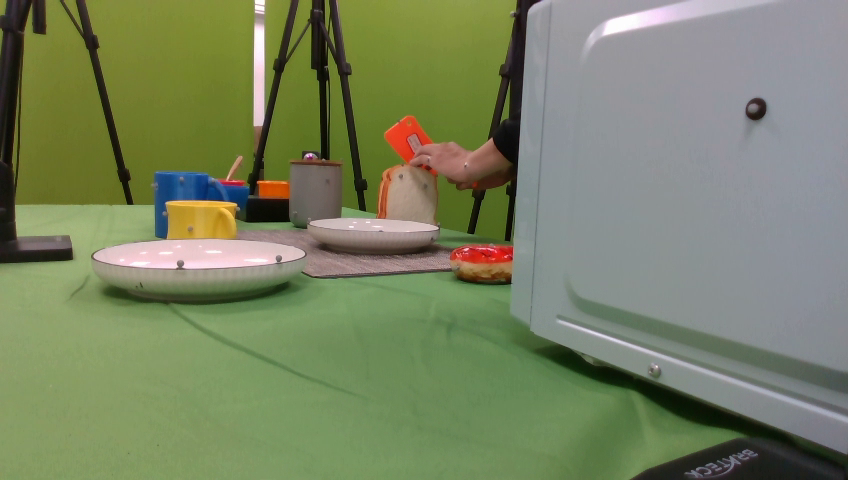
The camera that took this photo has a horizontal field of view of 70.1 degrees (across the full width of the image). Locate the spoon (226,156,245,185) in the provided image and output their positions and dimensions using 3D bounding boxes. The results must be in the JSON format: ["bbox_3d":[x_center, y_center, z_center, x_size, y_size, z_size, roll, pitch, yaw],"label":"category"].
[{"bbox_3d":[-0.477,-0.145,1.492,0.041,0.022,0.193,0,51,12],"label":"spoon"}]

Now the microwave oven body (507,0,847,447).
[{"bbox_3d":[0.331,-0.042,0.425,0.444,0.260,0.324,-2,8,-31],"label":"microwave oven body"}]

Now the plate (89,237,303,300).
[{"bbox_3d":[-0.233,0.029,0.637,0.208,0.039,0.207,2,7,0],"label":"plate"}]

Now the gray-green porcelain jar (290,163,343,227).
[{"bbox_3d":[-0.217,-0.091,1.221,0.106,0.126,0.106,2,7,0],"label":"gray-green porcelain jar"}]

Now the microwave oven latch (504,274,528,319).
[{"bbox_3d":[0.100,0.041,0.471,0.079,0.029,0.030,-1,7,-27],"label":"microwave oven latch"}]

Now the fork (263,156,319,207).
[{"bbox_3d":[-0.331,-0.144,1.505,0.207,0.018,0.028,-42,-20,22],"label":"fork"}]

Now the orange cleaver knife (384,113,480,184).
[{"bbox_3d":[0.018,-0.162,1.171,0.212,0.077,0.012,37,0,-21],"label":"orange cleaver knife"}]

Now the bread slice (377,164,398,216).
[{"bbox_3d":[-0.039,-0.081,1.169,0.105,0.131,0.019,5,-1,-21],"label":"bread slice"}]

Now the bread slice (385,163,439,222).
[{"bbox_3d":[-0.024,-0.075,1.121,0.107,0.134,0.018,-1,4,-20],"label":"bread slice"}]

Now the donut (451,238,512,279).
[{"bbox_3d":[0.083,0.022,0.745,0.099,0.048,0.099,1,5,0],"label":"donut"}]

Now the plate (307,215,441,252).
[{"bbox_3d":[-0.078,-0.012,0.954,0.209,0.038,0.209,2,8,0],"label":"plate"}]

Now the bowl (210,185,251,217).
[{"bbox_3d":[-0.408,-0.064,1.155,0.151,0.077,0.151,2,8,0],"label":"bowl"}]

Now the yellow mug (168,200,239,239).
[{"bbox_3d":[-0.320,-0.023,0.904,0.130,0.064,0.100,9,11,36],"label":"yellow mug"}]

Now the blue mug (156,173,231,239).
[{"bbox_3d":[-0.381,-0.057,1.004,0.117,0.106,0.082,1,8,-12],"label":"blue mug"}]

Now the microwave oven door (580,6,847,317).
[{"bbox_3d":[0.295,-0.067,0.570,0.358,0.243,0.039,-3,8,-31],"label":"microwave oven door"}]

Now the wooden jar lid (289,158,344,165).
[{"bbox_3d":[-0.215,-0.153,1.212,0.108,0.020,0.108,2,5,0],"label":"wooden jar lid"}]
